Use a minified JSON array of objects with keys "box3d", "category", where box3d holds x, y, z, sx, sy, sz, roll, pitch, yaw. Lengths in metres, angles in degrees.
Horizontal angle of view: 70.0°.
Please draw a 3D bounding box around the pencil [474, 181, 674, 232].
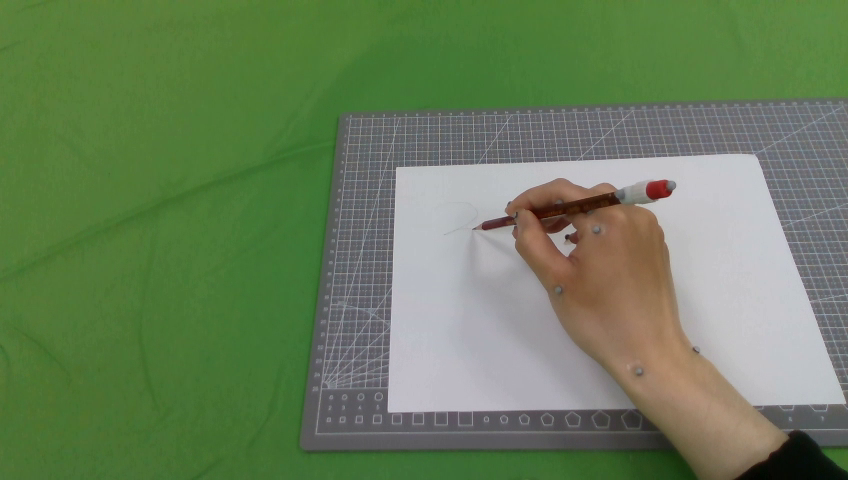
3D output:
[{"box3d":[0.080,-0.017,0.386,0.012,0.193,0.012,2,84,-25],"category":"pencil"}]
